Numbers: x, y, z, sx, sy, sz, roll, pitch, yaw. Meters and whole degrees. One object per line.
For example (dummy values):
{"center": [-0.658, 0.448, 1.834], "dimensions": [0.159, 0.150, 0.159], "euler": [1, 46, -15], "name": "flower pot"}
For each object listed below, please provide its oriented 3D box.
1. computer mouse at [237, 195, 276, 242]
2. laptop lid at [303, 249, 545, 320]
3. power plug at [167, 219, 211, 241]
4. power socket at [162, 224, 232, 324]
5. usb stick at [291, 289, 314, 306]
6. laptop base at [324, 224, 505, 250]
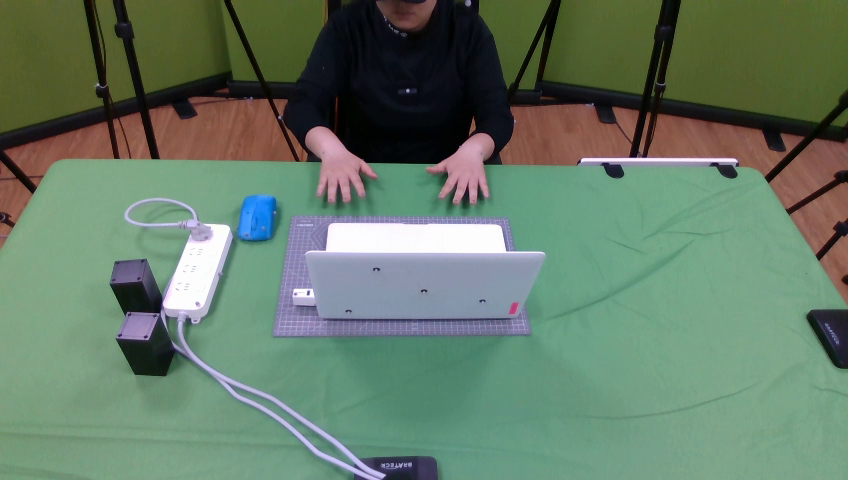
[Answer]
{"center": [-0.333, -0.047, 1.207], "dimensions": [0.063, 0.041, 0.116], "euler": [3, 51, -5], "name": "computer mouse"}
{"center": [-0.003, 0.076, 0.962], "dimensions": [0.357, 0.242, 0.013], "euler": [1, 58, -5], "name": "laptop lid"}
{"center": [-0.438, -0.017, 1.143], "dimensions": [0.072, 0.053, 0.035], "euler": [10, 43, 7], "name": "power plug"}
{"center": [-0.411, 0.052, 1.106], "dimensions": [0.072, 0.033, 0.225], "euler": [3, 45, -1], "name": "power socket"}
{"center": [-0.203, 0.101, 1.067], "dimensions": [0.059, 0.027, 0.021], "euler": [4, 46, -5], "name": "usb stick"}
{"center": [-0.014, 0.055, 1.144], "dimensions": [0.355, 0.023, 0.234], "euler": [0, 42, -4], "name": "laptop base"}
